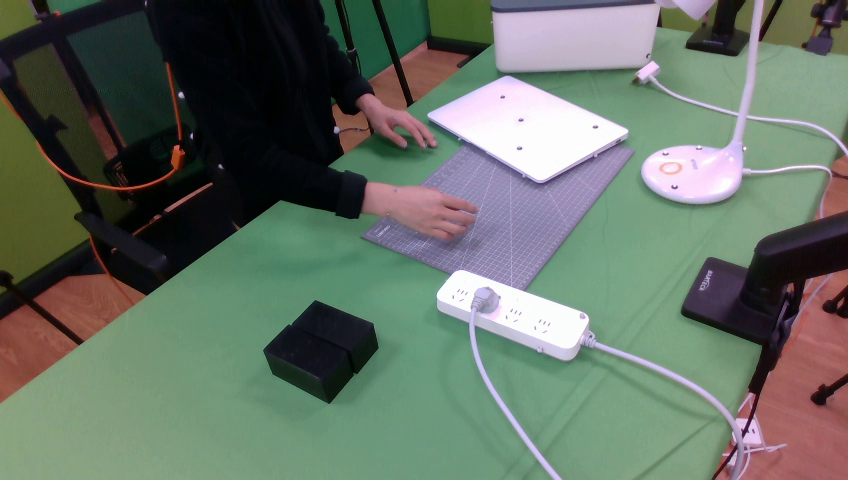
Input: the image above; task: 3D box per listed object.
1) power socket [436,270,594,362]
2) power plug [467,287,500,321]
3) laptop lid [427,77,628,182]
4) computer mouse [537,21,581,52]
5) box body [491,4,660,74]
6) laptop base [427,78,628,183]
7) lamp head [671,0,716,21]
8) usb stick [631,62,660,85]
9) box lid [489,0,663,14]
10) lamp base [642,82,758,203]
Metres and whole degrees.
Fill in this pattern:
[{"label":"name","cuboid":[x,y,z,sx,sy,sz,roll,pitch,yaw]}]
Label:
[{"label":"power socket","cuboid":[0.118,0.101,0.832,0.225,0.033,0.072,19,48,27]},{"label":"power plug","cuboid":[0.073,0.092,0.814,0.035,0.053,0.073,29,54,34]},{"label":"laptop lid","cuboid":[0.196,-0.237,1.213,0.242,0.013,0.353,-29,44,-21]},{"label":"computer mouse","cuboid":[0.335,-0.503,1.487,0.118,0.041,0.062,22,19,-28]},{"label":"box body","cuboid":[0.346,-0.520,1.429,0.363,0.161,0.253,0,41,9]},{"label":"laptop base","cuboid":[0.199,-0.229,1.222,0.236,0.023,0.351,-31,45,-22]},{"label":"lamp head","cuboid":[0.375,-0.373,0.807,0.122,0.113,0.112,-40,27,32]},{"label":"usb stick","cuboid":[0.480,-0.358,1.317,0.059,0.022,0.027,-35,56,14]},{"label":"box lid","cuboid":[0.340,-0.575,1.380,0.371,0.015,0.262,0,41,9]},{"label":"lamp base","cuboid":[0.464,-0.174,0.992,0.179,0.181,0.159,-5,41,-1]}]
